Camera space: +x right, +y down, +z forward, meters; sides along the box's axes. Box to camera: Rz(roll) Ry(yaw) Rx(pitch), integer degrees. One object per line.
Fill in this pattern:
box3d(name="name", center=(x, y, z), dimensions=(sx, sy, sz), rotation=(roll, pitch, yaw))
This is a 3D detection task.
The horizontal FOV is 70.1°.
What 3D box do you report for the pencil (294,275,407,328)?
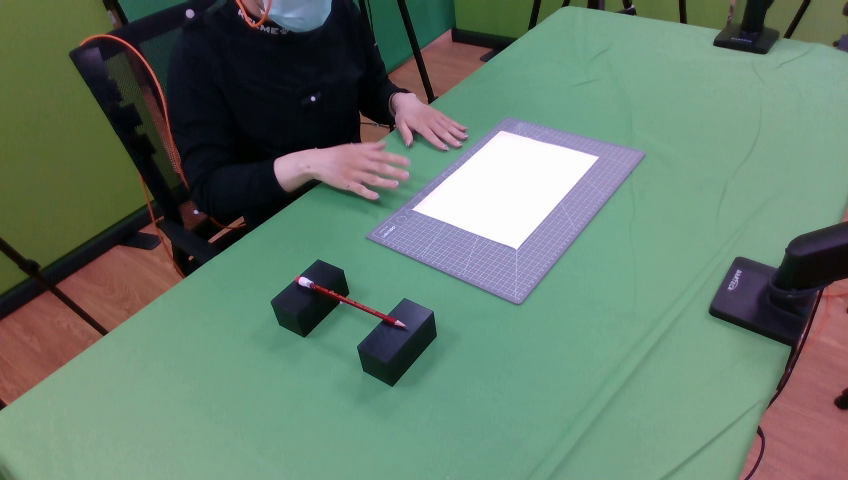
box3d(name="pencil", center=(-0.103, 0.083, 0.820), dimensions=(0.192, 0.012, 0.012), rotation=(20, 47, 27))
